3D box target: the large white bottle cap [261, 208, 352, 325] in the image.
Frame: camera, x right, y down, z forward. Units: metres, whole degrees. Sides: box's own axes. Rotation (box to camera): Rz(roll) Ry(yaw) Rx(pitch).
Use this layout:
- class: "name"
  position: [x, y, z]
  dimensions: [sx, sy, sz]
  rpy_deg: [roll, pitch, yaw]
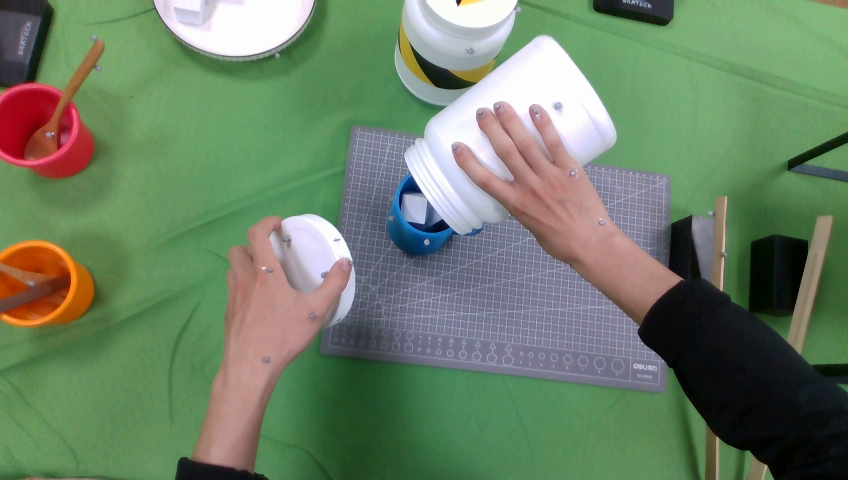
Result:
- class: "large white bottle cap"
  position: [-0.117, 0.027, 0.594]
  dimensions: [0.018, 0.114, 0.114]
  rpy_deg: [-12, 78, -53]

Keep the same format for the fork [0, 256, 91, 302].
- class: "fork"
  position: [-0.451, 0.017, 0.631]
  dimensions: [0.209, 0.018, 0.028]
  rpy_deg: [39, 68, -45]

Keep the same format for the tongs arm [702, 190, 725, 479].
- class: "tongs arm"
  position: [0.379, 0.131, 0.767]
  dimensions: [0.051, 0.026, 0.384]
  rpy_deg: [4, 91, -11]

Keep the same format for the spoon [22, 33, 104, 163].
- class: "spoon"
  position: [-0.403, -0.156, 0.675]
  dimensions: [0.194, 0.021, 0.041]
  rpy_deg: [-41, 82, 30]

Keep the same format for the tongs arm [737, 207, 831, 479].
- class: "tongs arm"
  position: [0.459, 0.143, 0.780]
  dimensions: [0.028, 0.027, 0.387]
  rpy_deg: [17, 89, -14]

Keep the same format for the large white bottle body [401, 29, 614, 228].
- class: "large white bottle body"
  position: [0.081, -0.106, 0.617]
  dimensions: [0.184, 0.131, 0.130]
  rpy_deg: [-35, 85, 14]

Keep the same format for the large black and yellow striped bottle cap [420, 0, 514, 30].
- class: "large black and yellow striped bottle cap"
  position: [0.047, -0.288, 0.666]
  dimensions: [0.115, 0.019, 0.114]
  rpy_deg: [2, 80, -10]

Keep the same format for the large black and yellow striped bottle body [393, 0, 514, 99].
- class: "large black and yellow striped bottle body"
  position: [0.034, -0.269, 0.747]
  dimensions: [0.131, 0.184, 0.130]
  rpy_deg: [2, 78, -8]

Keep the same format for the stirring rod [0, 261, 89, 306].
- class: "stirring rod"
  position: [-0.433, 0.058, 0.633]
  dimensions: [0.014, 0.006, 0.176]
  rpy_deg: [54, 34, 1]

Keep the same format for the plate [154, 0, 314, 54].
- class: "plate"
  position: [-0.244, -0.335, 0.789]
  dimensions: [0.208, 0.039, 0.206]
  rpy_deg: [2, 79, -9]

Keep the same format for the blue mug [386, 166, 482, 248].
- class: "blue mug"
  position: [0.014, -0.036, 0.737]
  dimensions: [0.117, 0.106, 0.082]
  rpy_deg: [15, 77, -6]
